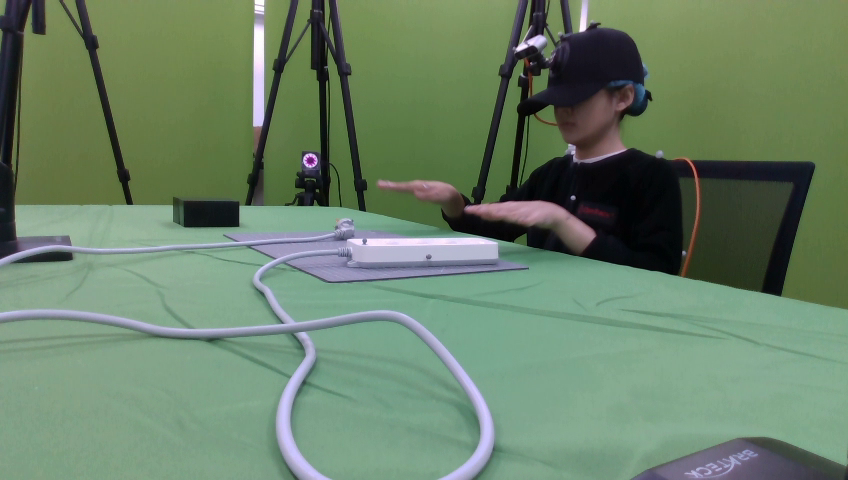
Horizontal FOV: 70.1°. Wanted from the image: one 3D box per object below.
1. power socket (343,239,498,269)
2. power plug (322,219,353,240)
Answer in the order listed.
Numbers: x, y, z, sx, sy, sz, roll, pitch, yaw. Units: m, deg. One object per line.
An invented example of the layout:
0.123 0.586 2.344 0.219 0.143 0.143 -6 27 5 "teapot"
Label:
-0.002 0.018 0.829 0.228 0.032 0.072 0 7 -24 "power socket"
-0.153 -0.023 1.041 0.052 0.035 0.073 32 12 39 "power plug"
